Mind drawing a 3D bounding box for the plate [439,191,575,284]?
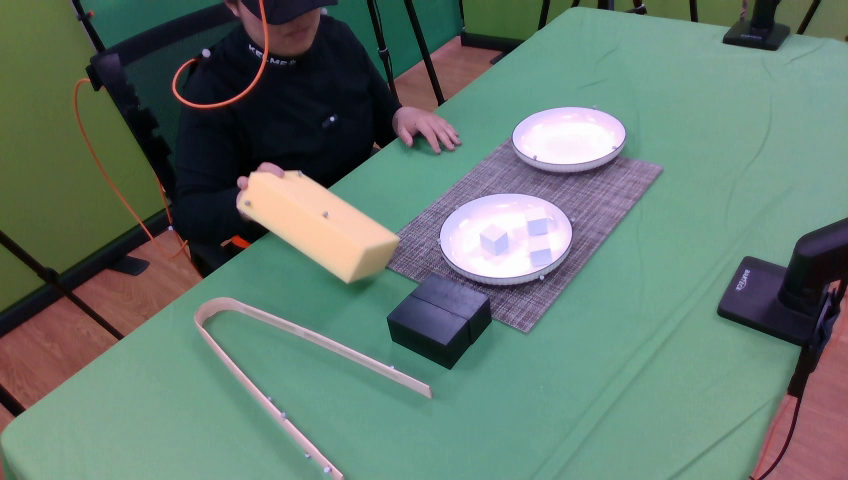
[{"bbox_3d":[0.129,-0.001,0.942,0.207,0.039,0.206,-5,40,5],"label":"plate"}]

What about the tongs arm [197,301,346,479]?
[{"bbox_3d":[-0.206,0.185,0.791,0.381,0.026,0.051,28,51,37],"label":"tongs arm"}]

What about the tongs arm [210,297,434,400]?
[{"bbox_3d":[-0.153,0.143,0.837,0.385,0.028,0.028,17,49,28],"label":"tongs arm"}]

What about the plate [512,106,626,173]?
[{"bbox_3d":[0.269,-0.185,1.132,0.209,0.038,0.208,-5,40,5],"label":"plate"}]

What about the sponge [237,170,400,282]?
[{"bbox_3d":[-0.153,-0.026,0.895,0.206,0.061,0.118,32,18,12],"label":"sponge"}]
